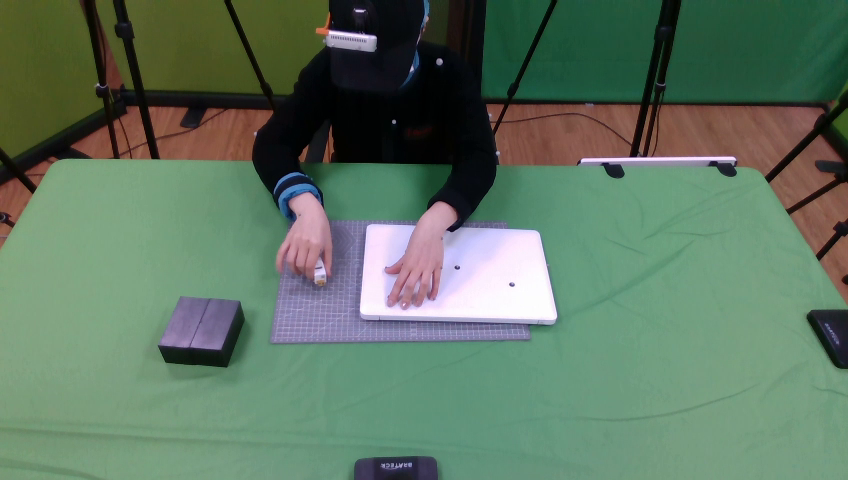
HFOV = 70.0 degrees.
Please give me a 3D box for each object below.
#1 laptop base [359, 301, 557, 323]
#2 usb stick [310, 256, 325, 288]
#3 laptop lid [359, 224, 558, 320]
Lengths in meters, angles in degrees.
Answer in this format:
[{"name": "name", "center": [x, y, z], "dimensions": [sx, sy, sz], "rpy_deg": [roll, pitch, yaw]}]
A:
[{"name": "laptop base", "center": [0.061, 0.063, 1.145], "dimensions": [0.354, 0.023, 0.234], "rpy_deg": [2, 43, -3]}, {"name": "usb stick", "center": [-0.193, 0.060, 1.106], "dimensions": [0.021, 0.027, 0.059], "rpy_deg": [-9, 53, -17]}, {"name": "laptop lid", "center": [0.062, 0.053, 1.138], "dimensions": [0.357, 0.013, 0.240], "rpy_deg": [3, 44, -2]}]
